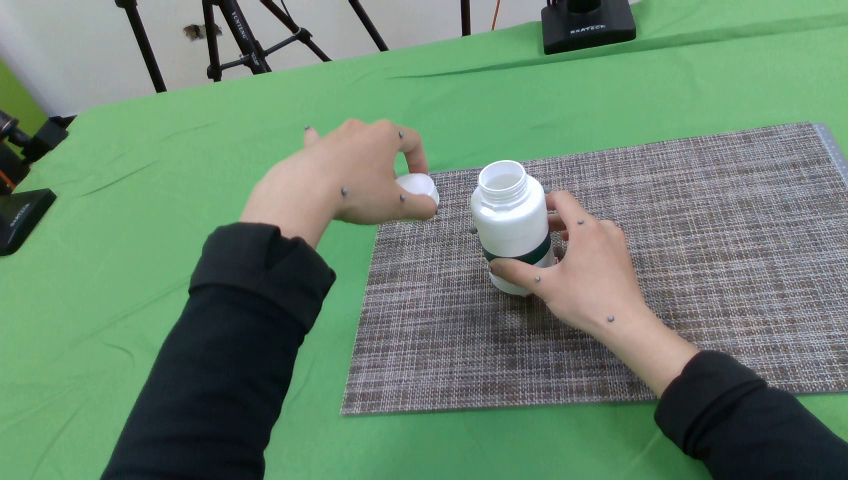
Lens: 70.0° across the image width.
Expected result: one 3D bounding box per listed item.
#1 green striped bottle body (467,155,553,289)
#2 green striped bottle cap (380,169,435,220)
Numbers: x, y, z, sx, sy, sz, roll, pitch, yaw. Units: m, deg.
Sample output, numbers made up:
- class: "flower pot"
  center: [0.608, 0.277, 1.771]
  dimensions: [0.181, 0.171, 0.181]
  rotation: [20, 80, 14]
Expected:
- class: "green striped bottle body"
  center: [0.075, -0.017, 0.526]
  dimensions: [0.063, 0.120, 0.062]
  rotation: [-10, 45, 11]
- class: "green striped bottle cap"
  center: [-0.014, -0.038, 0.499]
  dimensions: [0.044, 0.020, 0.044]
  rotation: [-6, 45, 7]
